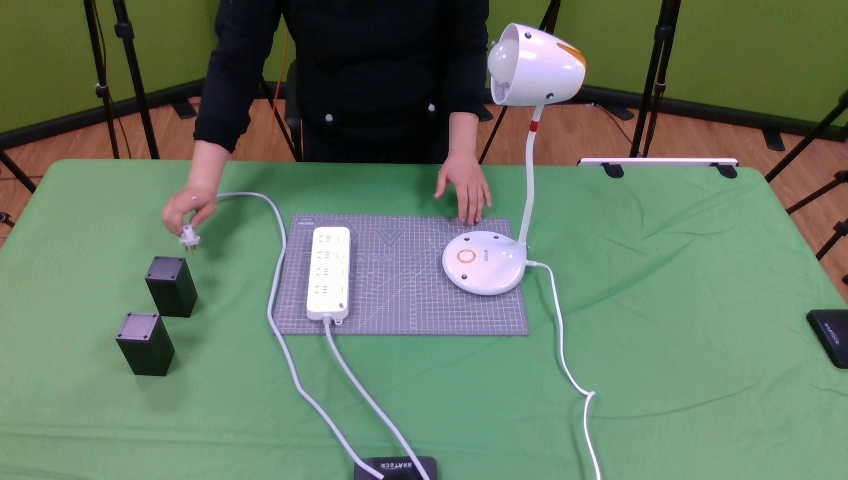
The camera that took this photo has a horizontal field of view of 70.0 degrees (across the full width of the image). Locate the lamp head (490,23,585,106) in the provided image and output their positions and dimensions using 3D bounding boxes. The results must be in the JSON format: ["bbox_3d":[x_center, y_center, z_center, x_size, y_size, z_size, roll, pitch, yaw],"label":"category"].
[{"bbox_3d":[0.165,-0.241,0.872,0.123,0.113,0.111,9,43,-17],"label":"lamp head"}]

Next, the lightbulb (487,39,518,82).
[{"bbox_3d":[0.143,-0.251,0.865,0.108,0.060,0.059,9,45,-7],"label":"lightbulb"}]

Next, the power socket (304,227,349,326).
[{"bbox_3d":[-0.177,0.059,1.115,0.072,0.033,0.225,-1,46,-4],"label":"power socket"}]

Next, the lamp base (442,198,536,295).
[{"bbox_3d":[0.130,-0.012,1.104,0.179,0.181,0.159,-1,46,-9],"label":"lamp base"}]

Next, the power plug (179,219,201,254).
[{"bbox_3d":[-0.425,-0.007,1.102,0.035,0.053,0.072,-6,23,-18],"label":"power plug"}]
